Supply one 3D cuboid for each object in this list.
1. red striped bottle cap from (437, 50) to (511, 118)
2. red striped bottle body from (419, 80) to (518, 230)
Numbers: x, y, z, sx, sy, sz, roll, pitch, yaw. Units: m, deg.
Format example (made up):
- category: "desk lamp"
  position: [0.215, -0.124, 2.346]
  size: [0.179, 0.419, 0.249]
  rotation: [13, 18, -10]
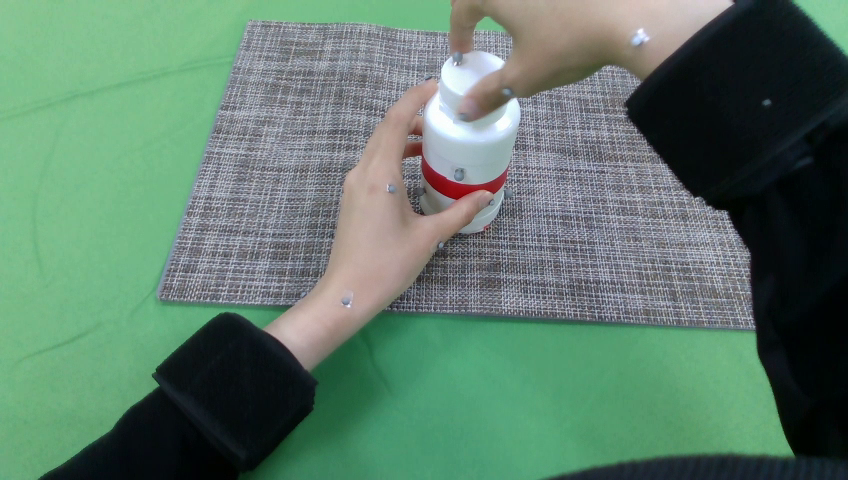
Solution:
- category: "red striped bottle cap"
  position: [0.030, -0.095, 0.367]
  size: [0.044, 0.018, 0.044]
  rotation: [1, 56, -2]
- category: "red striped bottle body"
  position: [0.028, -0.065, 0.412]
  size: [0.063, 0.120, 0.062]
  rotation: [1, 56, -1]
